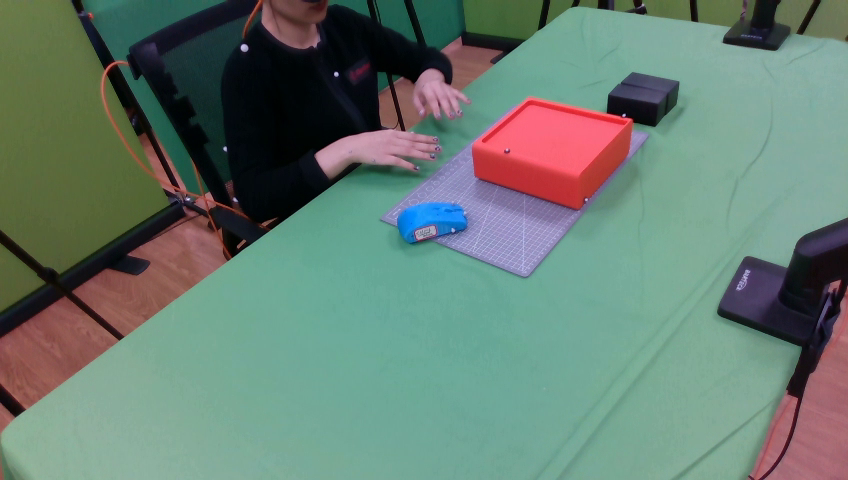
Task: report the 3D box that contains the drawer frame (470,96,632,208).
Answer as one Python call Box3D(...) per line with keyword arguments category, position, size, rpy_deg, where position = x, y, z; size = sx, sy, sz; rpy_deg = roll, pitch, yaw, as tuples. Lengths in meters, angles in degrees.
Box3D(category="drawer frame", position=(0.227, -0.164, 1.081), size=(0.212, 0.083, 0.202), rpy_deg=(23, 49, 31))

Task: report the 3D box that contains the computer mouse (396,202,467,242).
Box3D(category="computer mouse", position=(0.012, -0.035, 1.005), size=(0.117, 0.041, 0.062), rpy_deg=(-11, 38, -8))

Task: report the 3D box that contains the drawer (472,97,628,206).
Box3D(category="drawer", position=(0.225, -0.164, 1.082), size=(0.210, 0.073, 0.195), rpy_deg=(23, 49, 32))
